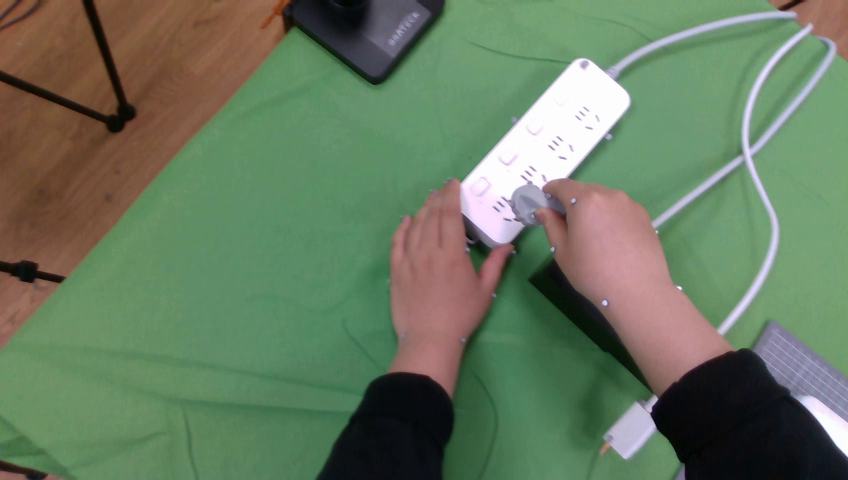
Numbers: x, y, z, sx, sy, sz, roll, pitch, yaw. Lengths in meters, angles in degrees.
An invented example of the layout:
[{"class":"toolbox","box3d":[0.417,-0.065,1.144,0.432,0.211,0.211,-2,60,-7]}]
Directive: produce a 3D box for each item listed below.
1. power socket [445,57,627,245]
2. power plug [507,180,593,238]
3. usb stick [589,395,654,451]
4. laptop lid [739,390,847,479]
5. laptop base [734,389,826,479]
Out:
[{"class":"power socket","box3d":[0.110,-0.088,0.591,0.072,0.032,0.226,43,77,1]},{"class":"power plug","box3d":[0.101,-0.019,0.521,0.035,0.052,0.072,-39,95,-19]},{"class":"usb stick","box3d":[0.172,0.166,0.535,0.059,0.022,0.027,-49,60,14]},{"class":"laptop lid","box3d":[0.418,0.334,0.544,0.356,0.013,0.241,40,79,2]},{"class":"laptop base","box3d":[0.419,0.334,0.556,0.354,0.023,0.235,38,80,1]}]
